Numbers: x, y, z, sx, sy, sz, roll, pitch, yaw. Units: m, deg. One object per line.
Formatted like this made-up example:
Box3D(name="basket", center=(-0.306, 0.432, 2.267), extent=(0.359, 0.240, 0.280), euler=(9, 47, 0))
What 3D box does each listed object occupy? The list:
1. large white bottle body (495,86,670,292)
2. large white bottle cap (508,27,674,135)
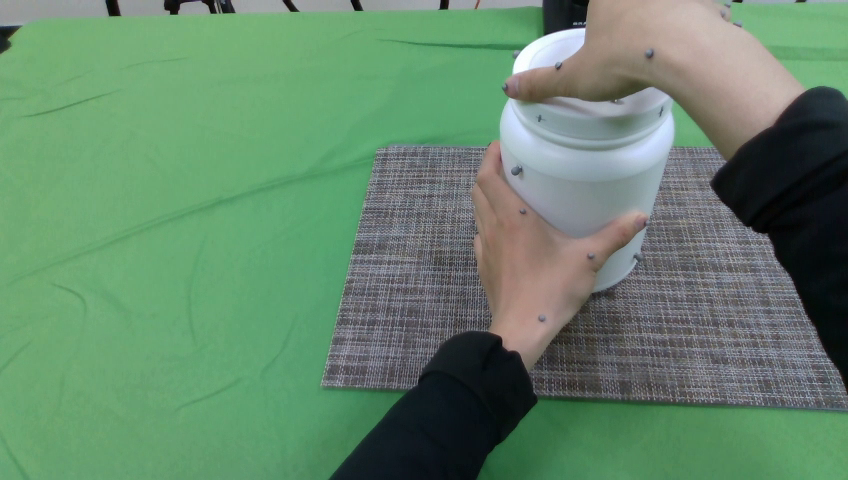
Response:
Box3D(name="large white bottle body", center=(0.124, -0.060, 0.499), extent=(0.130, 0.186, 0.129), euler=(-2, 48, 3))
Box3D(name="large white bottle cap", center=(0.117, -0.116, 0.434), extent=(0.115, 0.018, 0.113), euler=(-3, 48, 4))
